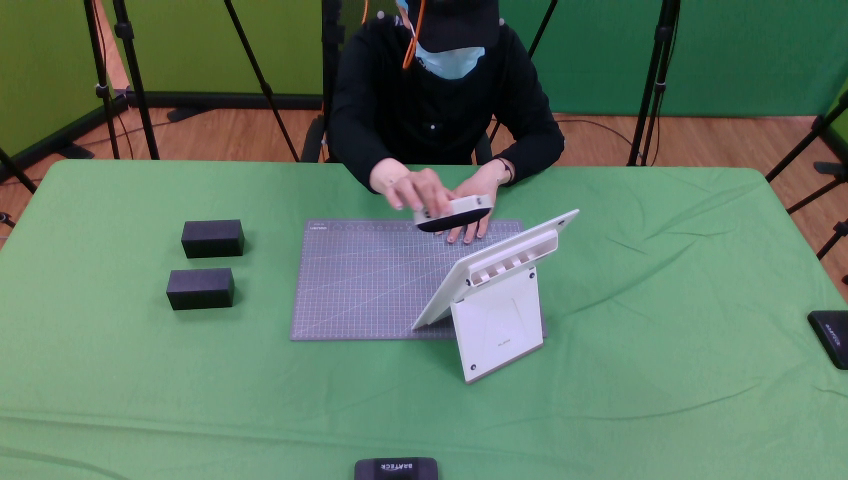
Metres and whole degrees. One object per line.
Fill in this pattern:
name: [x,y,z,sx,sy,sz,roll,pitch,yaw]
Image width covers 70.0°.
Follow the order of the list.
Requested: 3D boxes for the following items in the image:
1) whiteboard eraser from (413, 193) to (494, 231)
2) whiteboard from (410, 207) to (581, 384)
whiteboard eraser: [0.043,-0.040,0.903,0.112,0.042,0.056,-14,-5,31]
whiteboard: [0.131,0.108,0.946,0.217,0.306,0.143,-21,72,-23]
